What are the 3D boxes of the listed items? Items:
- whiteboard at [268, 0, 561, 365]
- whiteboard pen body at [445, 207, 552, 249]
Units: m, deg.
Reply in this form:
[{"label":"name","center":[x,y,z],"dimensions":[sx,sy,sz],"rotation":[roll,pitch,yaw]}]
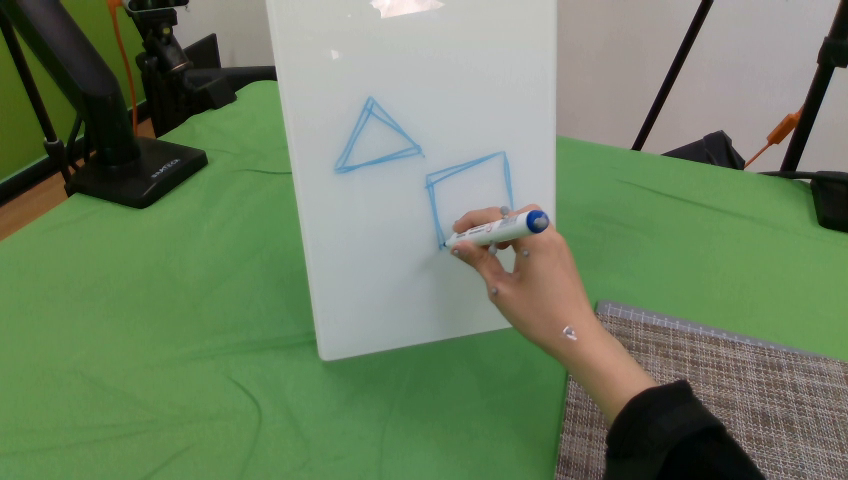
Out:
[{"label":"whiteboard","center":[-0.007,-0.075,0.542],"dimensions":[0.218,0.307,0.142],"rotation":[-8,20,-11]},{"label":"whiteboard pen body","center":[0.047,-0.006,0.440],"dimensions":[0.017,0.017,0.140],"rotation":[-20,1,-25]}]
